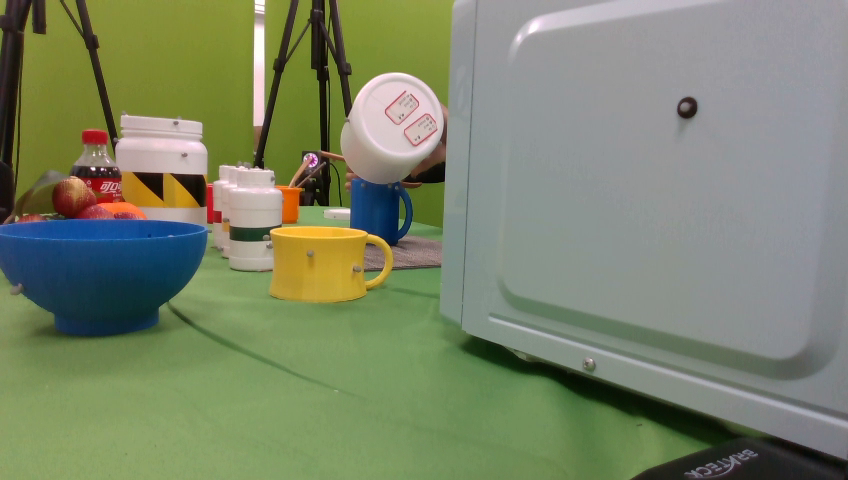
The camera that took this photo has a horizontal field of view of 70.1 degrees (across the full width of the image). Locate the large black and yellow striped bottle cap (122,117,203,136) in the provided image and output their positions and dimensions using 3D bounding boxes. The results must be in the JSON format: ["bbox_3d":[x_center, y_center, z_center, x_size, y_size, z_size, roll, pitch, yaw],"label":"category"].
[{"bbox_3d":[-0.399,-0.174,0.927,0.115,0.019,0.115,5,9,-1],"label":"large black and yellow striped bottle cap"}]

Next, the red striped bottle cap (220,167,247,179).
[{"bbox_3d":[-0.281,-0.099,0.901,0.044,0.017,0.044,-1,5,0],"label":"red striped bottle cap"}]

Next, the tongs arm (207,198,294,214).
[{"bbox_3d":[-0.423,-0.084,1.472,0.050,0.026,0.386,2,6,22],"label":"tongs arm"}]

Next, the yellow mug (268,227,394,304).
[{"bbox_3d":[-0.094,0.023,0.629,0.131,0.064,0.099,0,7,-22],"label":"yellow mug"}]

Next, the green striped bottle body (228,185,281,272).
[{"bbox_3d":[-0.208,-0.024,0.745,0.063,0.119,0.063,2,7,0],"label":"green striped bottle body"}]

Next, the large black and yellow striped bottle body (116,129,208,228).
[{"bbox_3d":[-0.404,-0.089,0.937,0.131,0.184,0.130,3,7,0],"label":"large black and yellow striped bottle body"}]

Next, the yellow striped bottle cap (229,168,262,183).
[{"bbox_3d":[-0.240,-0.087,0.816,0.044,0.018,0.044,-3,5,1],"label":"yellow striped bottle cap"}]

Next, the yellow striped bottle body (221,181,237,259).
[{"bbox_3d":[-0.244,-0.035,0.823,0.063,0.120,0.063,3,8,0],"label":"yellow striped bottle body"}]

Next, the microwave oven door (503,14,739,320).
[{"bbox_3d":[0.217,-0.065,0.600,0.358,0.243,0.039,-4,10,-41],"label":"microwave oven door"}]

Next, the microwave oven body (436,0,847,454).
[{"bbox_3d":[0.279,-0.040,0.464,0.444,0.260,0.324,-3,9,-41],"label":"microwave oven body"}]

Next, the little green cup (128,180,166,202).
[{"bbox_3d":[-0.485,-0.087,1.062,0.061,0.038,0.061,-1,6,0],"label":"little green cup"}]

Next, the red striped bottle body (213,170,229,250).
[{"bbox_3d":[-0.283,-0.047,0.909,0.063,0.119,0.063,2,13,0],"label":"red striped bottle body"}]

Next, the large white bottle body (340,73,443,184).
[{"bbox_3d":[-0.055,-0.158,0.911,0.131,0.130,0.184,1,-7,-15],"label":"large white bottle body"}]

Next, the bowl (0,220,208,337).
[{"bbox_3d":[-0.251,0.029,0.479,0.151,0.077,0.151,2,7,0],"label":"bowl"}]

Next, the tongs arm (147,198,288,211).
[{"bbox_3d":[-0.503,-0.091,1.513,0.028,0.028,0.389,-1,4,38],"label":"tongs arm"}]

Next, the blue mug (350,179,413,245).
[{"bbox_3d":[-0.068,-0.047,1.001,0.116,0.106,0.083,7,9,29],"label":"blue mug"}]

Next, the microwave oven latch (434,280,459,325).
[{"bbox_3d":[0.044,0.045,0.470,0.079,0.029,0.030,-2,8,-39],"label":"microwave oven latch"}]

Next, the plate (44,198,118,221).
[{"bbox_3d":[-0.617,-0.056,1.179,0.209,0.038,0.209,3,7,0],"label":"plate"}]

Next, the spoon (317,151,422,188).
[{"bbox_3d":[-0.097,-0.128,1.084,0.194,0.021,0.041,20,6,-7],"label":"spoon"}]

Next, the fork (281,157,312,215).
[{"bbox_3d":[-0.290,-0.116,1.321,0.028,0.019,0.207,6,51,18],"label":"fork"}]

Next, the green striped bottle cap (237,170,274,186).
[{"bbox_3d":[-0.206,-0.075,0.737,0.044,0.020,0.044,2,5,0],"label":"green striped bottle cap"}]

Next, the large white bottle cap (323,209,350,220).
[{"bbox_3d":[-0.184,-0.062,1.450,0.115,0.018,0.115,2,8,0],"label":"large white bottle cap"}]

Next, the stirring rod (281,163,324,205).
[{"bbox_3d":[-0.278,-0.105,1.293,0.176,0.006,0.014,-47,25,-19],"label":"stirring rod"}]
